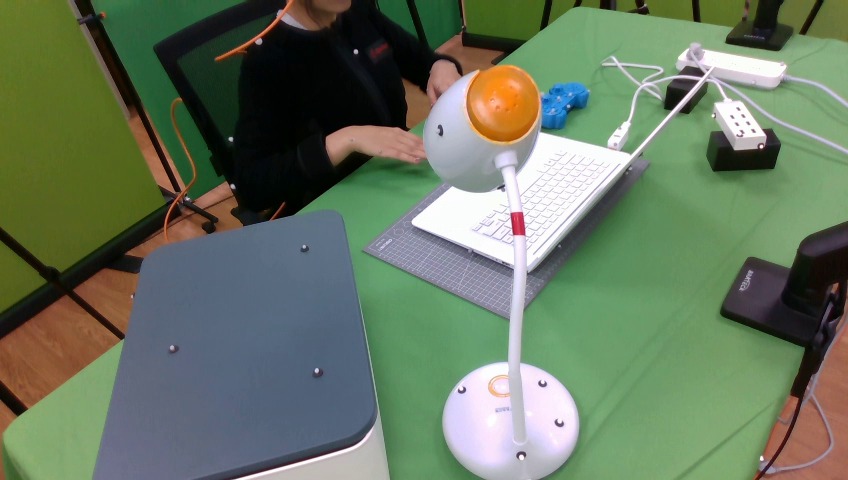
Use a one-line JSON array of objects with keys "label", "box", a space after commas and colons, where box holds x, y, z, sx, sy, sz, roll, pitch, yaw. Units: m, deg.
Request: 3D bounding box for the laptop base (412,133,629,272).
[{"label": "laptop base", "box": [0.176, -0.084, 1.055, 0.233, 0.023, 0.355, 21, 48, 36]}]

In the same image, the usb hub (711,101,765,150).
[{"label": "usb hub", "box": [0.537, -0.198, 1.038, 0.049, 0.025, 0.124, -5, 39, 8]}]

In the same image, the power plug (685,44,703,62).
[{"label": "power plug", "box": [0.568, -0.390, 1.294, 0.073, 0.053, 0.035, -33, 46, -22]}]

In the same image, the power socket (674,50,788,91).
[{"label": "power socket", "box": [0.646, -0.363, 1.284, 0.225, 0.033, 0.072, 25, 52, 34]}]

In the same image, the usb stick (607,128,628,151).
[{"label": "usb stick", "box": [0.353, -0.178, 1.110, 0.021, 0.027, 0.059, 21, 57, 30]}]

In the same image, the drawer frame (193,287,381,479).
[{"label": "drawer frame", "box": [-0.172, 0.176, 0.755, 0.202, 0.083, 0.212, -14, 42, -7]}]

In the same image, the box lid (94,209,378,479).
[{"label": "box lid", "box": [-0.202, 0.094, 0.680, 0.264, 0.015, 0.368, -13, 39, -5]}]

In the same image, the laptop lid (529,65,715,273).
[{"label": "laptop lid", "box": [0.294, -0.104, 0.895, 0.013, 0.241, 0.358, 42, 56, 10]}]

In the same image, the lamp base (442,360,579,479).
[{"label": "lamp base", "box": [0.094, 0.158, 0.657, 0.161, 0.181, 0.178, -14, 42, -5]}]

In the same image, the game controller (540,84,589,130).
[{"label": "game controller", "box": [0.273, -0.282, 1.251, 0.096, 0.052, 0.155, 26, 52, 30]}]

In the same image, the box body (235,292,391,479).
[{"label": "box body", "box": [-0.190, 0.161, 0.723, 0.255, 0.161, 0.361, -13, 40, -5]}]

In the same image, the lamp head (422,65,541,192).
[{"label": "lamp head", "box": [0.060, -0.106, 0.560, 0.113, 0.112, 0.122, -16, 0, -8]}]
